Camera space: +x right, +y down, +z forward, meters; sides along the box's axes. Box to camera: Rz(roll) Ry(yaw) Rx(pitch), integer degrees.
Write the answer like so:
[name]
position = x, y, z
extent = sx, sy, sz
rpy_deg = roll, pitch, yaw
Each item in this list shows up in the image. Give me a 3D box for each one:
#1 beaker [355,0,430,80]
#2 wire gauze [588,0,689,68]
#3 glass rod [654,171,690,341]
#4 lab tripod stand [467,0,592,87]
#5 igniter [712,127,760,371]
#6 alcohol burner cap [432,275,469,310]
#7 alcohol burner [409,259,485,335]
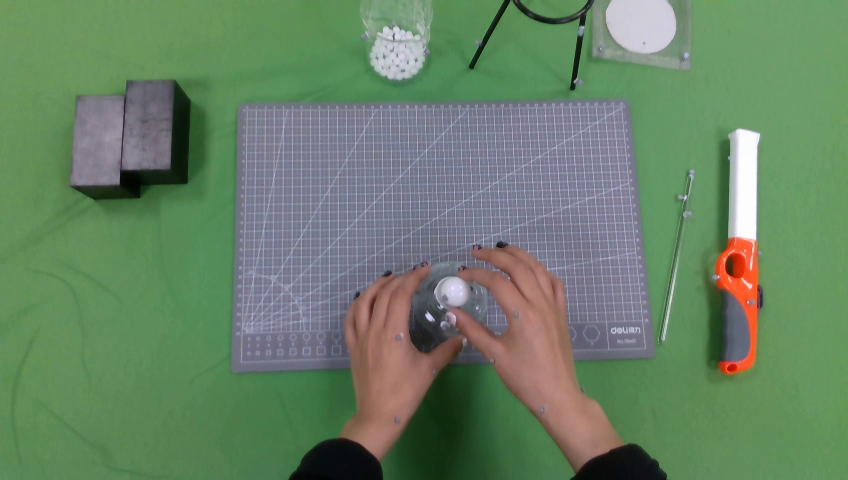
[beaker]
position = -0.031, -0.225, 0.662
extent = 0.084, 0.100, 0.074
rpy_deg = 44, 80, 5
[wire gauze]
position = 0.258, -0.270, 0.732
extent = 0.125, 0.011, 0.121
rpy_deg = 6, 78, 0
[glass rod]
position = 0.278, 0.015, 0.679
extent = 0.008, 0.008, 0.199
rpy_deg = 15, 79, 0
[lab tripod stand]
position = 0.120, -0.245, 0.656
extent = 0.148, 0.132, 0.147
rpy_deg = 0, 77, -1
[igniter]
position = 0.348, 0.008, 0.674
extent = 0.057, 0.025, 0.275
rpy_deg = 10, 79, -11
[alcohol burner cap]
position = 0.027, 0.048, 0.566
extent = 0.034, 0.048, 0.033
rpy_deg = 1, 82, -5
[alcohol burner]
position = 0.025, 0.054, 0.601
extent = 0.078, 0.119, 0.077
rpy_deg = 1, 77, -3
